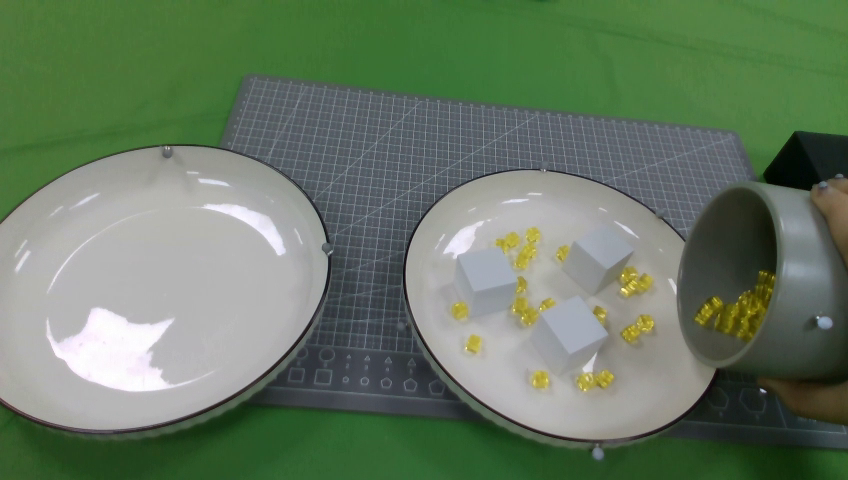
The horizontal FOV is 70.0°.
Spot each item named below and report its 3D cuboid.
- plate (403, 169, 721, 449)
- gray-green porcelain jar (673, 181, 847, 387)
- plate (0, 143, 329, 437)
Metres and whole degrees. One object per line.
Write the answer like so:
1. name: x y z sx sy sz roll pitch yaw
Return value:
1. plate: 0.089 0.039 0.401 0.208 0.039 0.205 4 51 -5
2. gray-green porcelain jar: 0.225 0.028 0.342 0.126 0.106 0.105 9 51 -3
3. plate: -0.163 0.024 0.375 0.209 0.038 0.207 3 52 -4
